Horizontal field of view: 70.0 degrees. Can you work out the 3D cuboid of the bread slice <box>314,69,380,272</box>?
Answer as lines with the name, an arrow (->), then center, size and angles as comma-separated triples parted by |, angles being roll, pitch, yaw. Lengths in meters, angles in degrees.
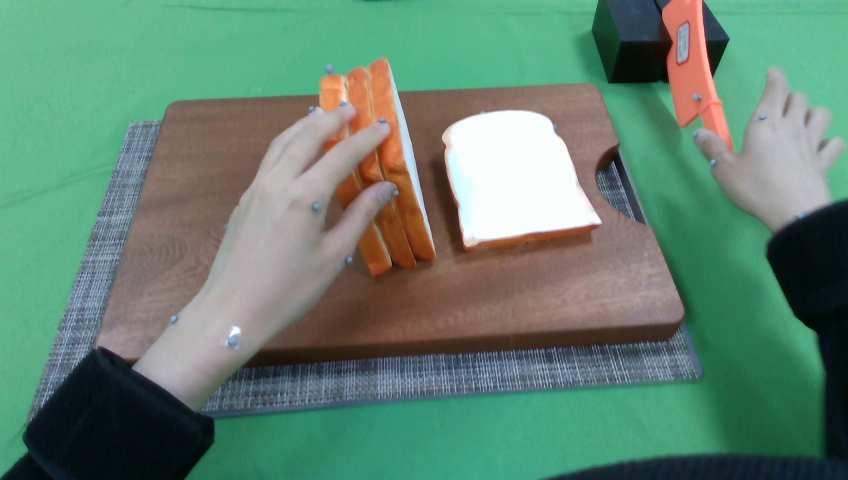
bread slice -> -0.056, -0.057, 0.437 | 0.018, 0.108, 0.133 | -12, 46, 0

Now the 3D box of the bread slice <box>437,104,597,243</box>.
bread slice -> 0.066, -0.058, 0.482 | 0.105, 0.019, 0.130 | -9, 56, -6

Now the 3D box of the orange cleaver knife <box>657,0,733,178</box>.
orange cleaver knife -> 0.242, -0.145, 0.554 | 0.012, 0.077, 0.210 | -1, 71, -5
